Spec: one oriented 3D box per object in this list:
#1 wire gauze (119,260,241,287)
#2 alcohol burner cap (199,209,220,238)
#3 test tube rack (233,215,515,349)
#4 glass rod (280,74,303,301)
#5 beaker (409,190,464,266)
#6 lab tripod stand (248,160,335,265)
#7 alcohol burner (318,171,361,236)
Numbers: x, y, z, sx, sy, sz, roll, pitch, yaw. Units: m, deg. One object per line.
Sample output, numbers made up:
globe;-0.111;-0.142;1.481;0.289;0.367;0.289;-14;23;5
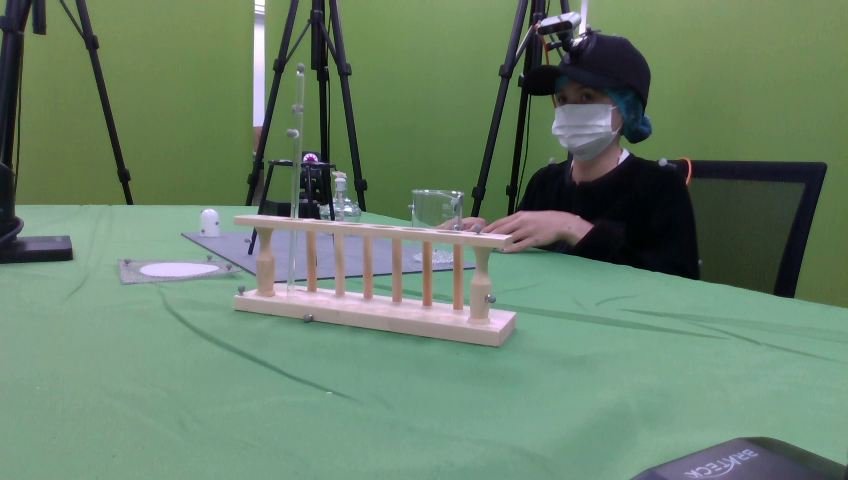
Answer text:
wire gauze;-0.288;0.034;0.706;0.122;0.011;0.124;-3;10;-29
alcohol burner cap;-0.356;-0.027;1.002;0.034;0.048;0.034;2;7;0
test tube rack;-0.045;0.029;0.526;0.241;0.085;0.067;5;8;19
glass rod;-0.114;-0.040;0.516;0.008;0.199;0.008;7;14;-1
beaker;0.018;-0.018;0.840;0.074;0.100;0.083;-3;10;-35
lab tripod stand;-0.165;-0.041;0.817;0.148;0.131;0.148;5;7;0
alcohol burner;-0.155;-0.067;1.104;0.078;0.119;0.078;1;8;0
